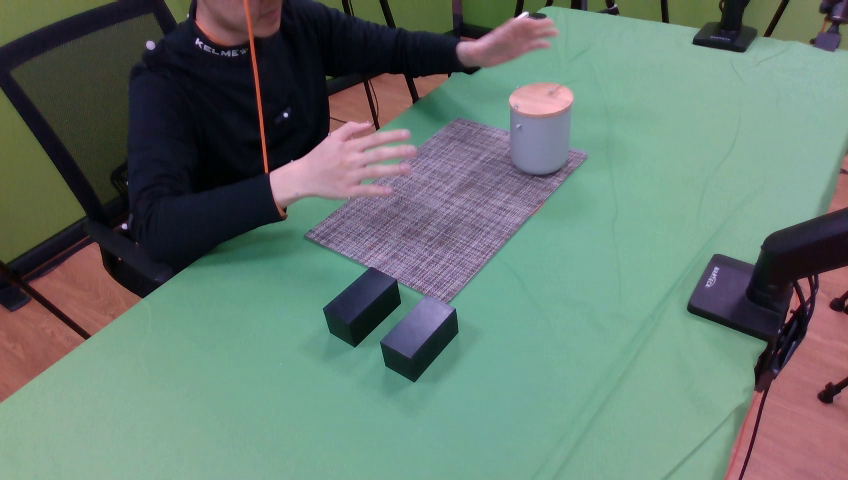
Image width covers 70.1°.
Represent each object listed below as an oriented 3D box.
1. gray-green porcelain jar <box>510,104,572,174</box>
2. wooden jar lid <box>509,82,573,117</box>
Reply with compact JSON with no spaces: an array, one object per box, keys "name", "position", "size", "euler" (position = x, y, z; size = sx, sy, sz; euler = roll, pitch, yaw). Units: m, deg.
[{"name":"gray-green porcelain jar","position":[0.206,-0.190,1.073],"size":[0.106,0.127,0.105],"euler":[-4,41,4]},{"name":"wooden jar lid","position":[0.200,-0.236,1.033],"size":[0.108,0.021,0.108],"euler":[-6,42,6]}]
